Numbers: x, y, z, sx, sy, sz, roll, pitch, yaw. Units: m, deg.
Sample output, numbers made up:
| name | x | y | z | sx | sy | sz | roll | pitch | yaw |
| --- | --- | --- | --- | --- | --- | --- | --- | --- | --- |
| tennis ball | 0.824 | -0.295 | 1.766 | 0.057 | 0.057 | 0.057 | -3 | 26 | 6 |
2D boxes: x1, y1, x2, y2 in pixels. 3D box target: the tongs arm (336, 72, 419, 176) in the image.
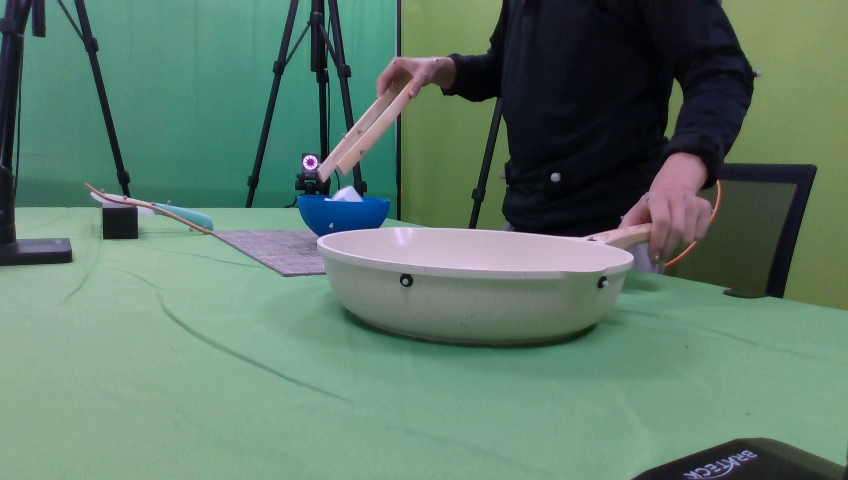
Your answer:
| name | x | y | z | sx | sy | sz | roll | pitch | yaw |
| --- | --- | --- | --- | --- | --- | --- | --- | --- | --- |
| tongs arm | -0.074 | -0.222 | 1.094 | 0.028 | 0.028 | 0.388 | -13 | 30 | 30 |

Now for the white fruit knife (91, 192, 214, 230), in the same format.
| name | x | y | z | sx | sy | sz | roll | pitch | yaw |
| --- | --- | --- | --- | --- | --- | --- | --- | --- | --- |
| white fruit knife | -0.477 | -0.055 | 1.077 | 0.208 | 0.027 | 0.016 | 15 | -5 | -30 |

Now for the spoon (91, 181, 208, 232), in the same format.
| name | x | y | z | sx | sy | sz | roll | pitch | yaw |
| --- | --- | --- | --- | --- | --- | --- | --- | --- | --- |
| spoon | -0.461 | -0.053 | 1.023 | 0.195 | 0.021 | 0.041 | 21 | 22 | -24 |

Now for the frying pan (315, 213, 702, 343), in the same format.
| name | x | y | z | sx | sy | sz | roll | pitch | yaw |
| --- | --- | --- | --- | --- | --- | --- | --- | --- | --- |
| frying pan | 0.133 | 0.013 | 0.629 | 0.490 | 0.102 | 0.305 | -11 | 14 | -29 |

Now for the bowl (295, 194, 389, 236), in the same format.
| name | x | y | z | sx | sy | sz | roll | pitch | yaw |
| --- | --- | --- | --- | --- | --- | --- | --- | --- | --- |
| bowl | -0.132 | -0.032 | 0.980 | 0.151 | 0.077 | 0.151 | 2 | 7 | 0 |

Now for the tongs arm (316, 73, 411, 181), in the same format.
| name | x | y | z | sx | sy | sz | roll | pitch | yaw |
| --- | --- | --- | --- | --- | --- | --- | --- | --- | --- |
| tongs arm | -0.098 | -0.218 | 1.107 | 0.050 | 0.026 | 0.385 | -11 | 31 | 25 |
